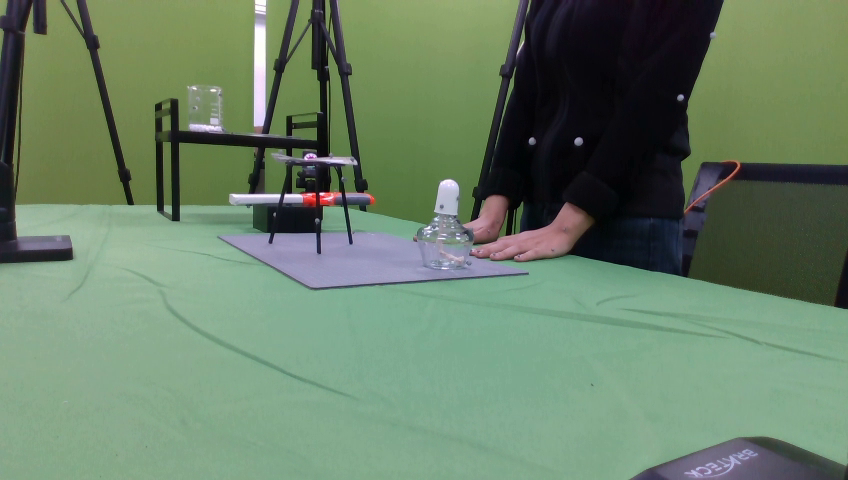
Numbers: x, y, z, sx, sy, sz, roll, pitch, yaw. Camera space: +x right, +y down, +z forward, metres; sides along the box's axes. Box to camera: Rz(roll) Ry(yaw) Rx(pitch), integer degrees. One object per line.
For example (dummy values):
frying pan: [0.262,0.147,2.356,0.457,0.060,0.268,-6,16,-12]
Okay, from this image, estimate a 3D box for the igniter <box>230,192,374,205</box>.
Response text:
igniter: [-0.228,-0.079,1.164,0.278,0.025,0.057,-2,14,-30]

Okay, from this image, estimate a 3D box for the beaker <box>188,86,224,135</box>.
beaker: [-0.474,-0.280,1.311,0.074,0.100,0.084,5,8,26]

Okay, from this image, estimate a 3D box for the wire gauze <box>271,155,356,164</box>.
wire gauze: [-0.167,-0.122,0.917,0.125,0.011,0.121,0,7,-9]

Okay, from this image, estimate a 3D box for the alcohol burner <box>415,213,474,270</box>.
alcohol burner: [0.028,-0.020,0.798,0.078,0.119,0.078,4,5,0]

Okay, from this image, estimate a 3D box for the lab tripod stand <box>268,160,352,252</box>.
lab tripod stand: [-0.171,-0.055,0.921,0.148,0.131,0.148,1,8,0]

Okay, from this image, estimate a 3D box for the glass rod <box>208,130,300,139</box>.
glass rod: [-0.367,-0.231,1.321,0.201,0.008,0.008,-1,8,-30]

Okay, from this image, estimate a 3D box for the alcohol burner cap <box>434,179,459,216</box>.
alcohol burner cap: [0.031,-0.055,0.792,0.034,0.048,0.034,6,9,-1]
